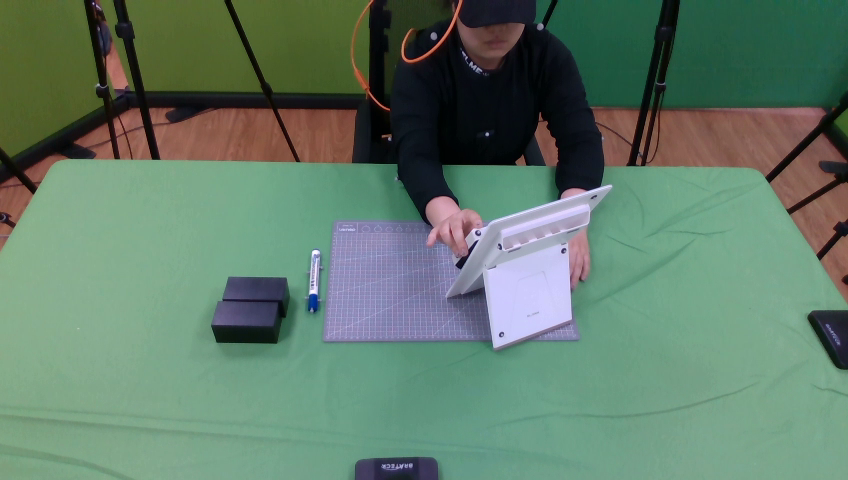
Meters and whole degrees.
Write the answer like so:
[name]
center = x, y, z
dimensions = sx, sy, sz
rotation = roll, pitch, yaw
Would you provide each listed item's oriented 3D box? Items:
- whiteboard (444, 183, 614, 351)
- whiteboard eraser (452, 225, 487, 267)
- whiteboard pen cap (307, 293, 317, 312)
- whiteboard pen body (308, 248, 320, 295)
[whiteboard]
center = 0.186, 0.065, 0.990
dimensions = 0.217, 0.306, 0.143
rotation = -16, 68, -19
[whiteboard eraser]
center = 0.090, 0.013, 1.008
dimensions = 0.056, 0.113, 0.041
rotation = -10, 68, -21
[whiteboard pen cap]
center = -0.199, 0.110, 1.078
dimensions = 0.018, 0.018, 0.033
rotation = -2, 47, -6
[whiteboard pen body]
center = -0.204, 0.069, 1.119
dimensions = 0.017, 0.017, 0.140
rotation = -1, 46, -5
